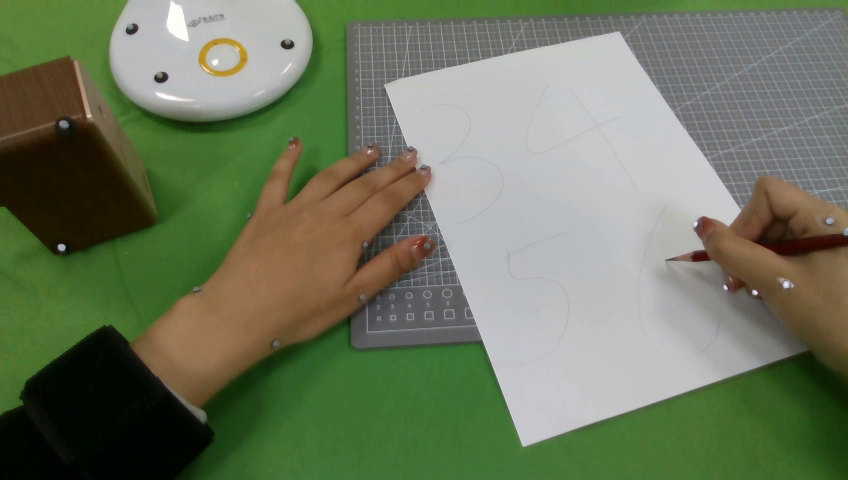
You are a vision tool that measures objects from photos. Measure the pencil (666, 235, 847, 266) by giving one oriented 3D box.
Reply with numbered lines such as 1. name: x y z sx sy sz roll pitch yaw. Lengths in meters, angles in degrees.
1. pencil: 0.224 0.003 0.336 0.012 0.193 0.012 7 78 -37

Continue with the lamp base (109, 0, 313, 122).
1. lamp base: -0.178 -0.206 0.433 0.160 0.182 0.177 -31 62 -18

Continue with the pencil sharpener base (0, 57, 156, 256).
1. pencil sharpener base: -0.228 -0.047 0.379 0.077 0.108 0.061 -21 62 -13

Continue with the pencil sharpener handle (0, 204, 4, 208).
1. pencil sharpener handle: -0.274 -0.036 0.357 0.031 0.068 0.035 -21 65 -13
